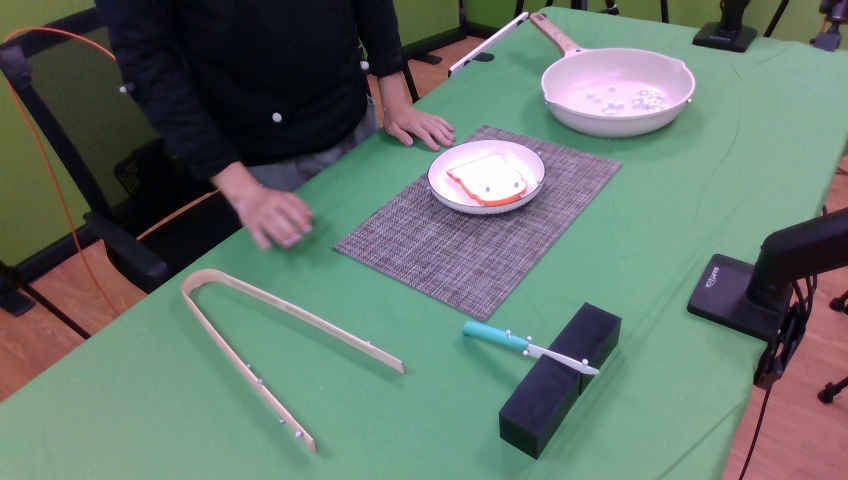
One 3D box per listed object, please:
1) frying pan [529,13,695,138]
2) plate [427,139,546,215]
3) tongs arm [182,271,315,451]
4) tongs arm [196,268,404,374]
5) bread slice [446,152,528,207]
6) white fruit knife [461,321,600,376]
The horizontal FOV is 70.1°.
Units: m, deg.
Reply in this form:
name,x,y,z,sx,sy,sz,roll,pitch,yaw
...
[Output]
name,x,y,z,sx,sy,sz,roll,pitch,yaw
frying pan,0.348,-0.368,1.282,0.308,0.103,0.484,-16,50,-12
plate,0.109,-0.107,1.058,0.207,0.039,0.206,-4,40,4
tongs arm,-0.241,0.148,0.820,0.051,0.026,0.381,-34,46,-29
tongs arm,-0.187,0.108,0.865,0.385,0.028,0.028,20,50,28
bread slice,0.117,-0.105,1.057,0.107,0.018,0.133,-24,42,-17
white fruit knife,0.126,0.133,0.752,0.205,0.027,0.016,13,44,42
